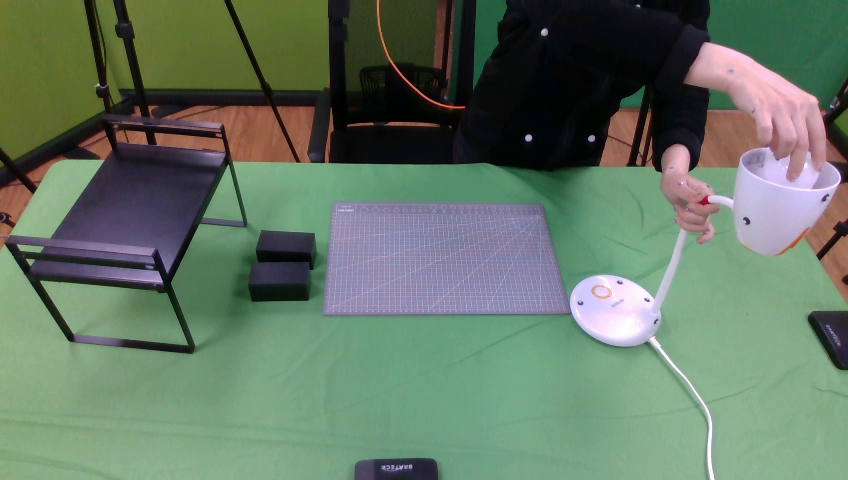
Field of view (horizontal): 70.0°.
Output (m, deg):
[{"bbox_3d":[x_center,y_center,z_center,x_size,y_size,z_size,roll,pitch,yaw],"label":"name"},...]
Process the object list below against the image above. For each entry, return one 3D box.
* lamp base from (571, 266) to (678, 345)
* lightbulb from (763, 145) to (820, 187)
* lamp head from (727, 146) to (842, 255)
[{"bbox_3d":[0.359,0.077,1.038,0.160,0.181,0.178,-33,58,-30],"label":"lamp base"},{"bbox_3d":[0.444,-0.064,0.745,0.059,0.108,0.059,1,30,-1],"label":"lightbulb"},{"bbox_3d":[0.437,-0.045,0.760,0.112,0.123,0.111,1,39,-1],"label":"lamp head"}]
